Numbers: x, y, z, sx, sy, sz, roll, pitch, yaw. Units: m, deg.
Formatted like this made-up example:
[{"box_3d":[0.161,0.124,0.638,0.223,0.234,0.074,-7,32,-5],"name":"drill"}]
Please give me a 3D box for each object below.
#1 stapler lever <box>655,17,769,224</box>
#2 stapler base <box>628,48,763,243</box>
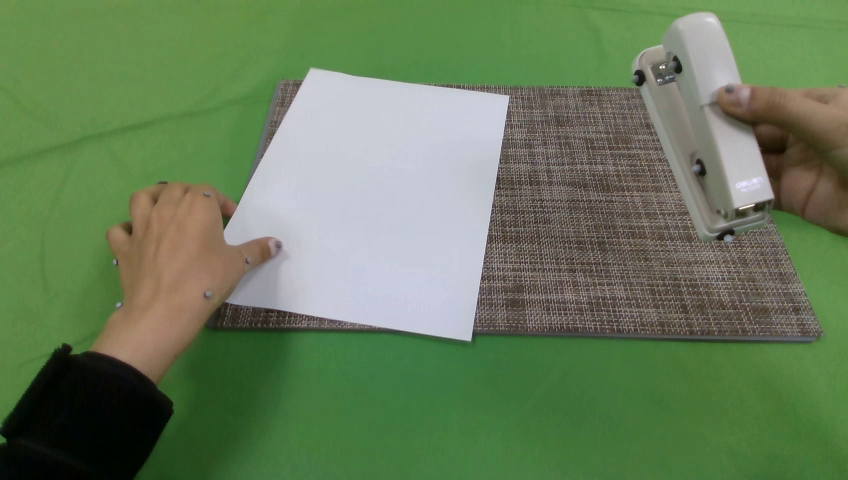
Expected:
[{"box_3d":[0.162,-0.070,0.340,0.027,0.040,0.117,-16,74,3],"name":"stapler lever"},{"box_3d":[0.163,-0.064,0.364,0.041,0.024,0.130,-16,75,3],"name":"stapler base"}]
